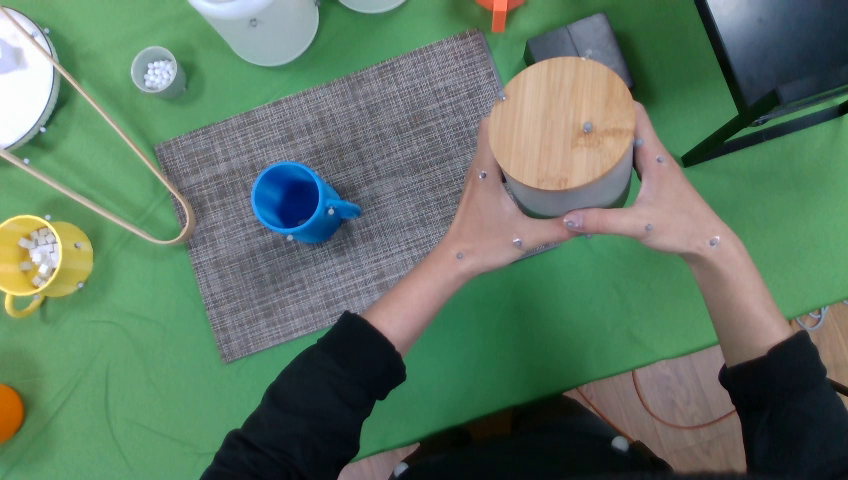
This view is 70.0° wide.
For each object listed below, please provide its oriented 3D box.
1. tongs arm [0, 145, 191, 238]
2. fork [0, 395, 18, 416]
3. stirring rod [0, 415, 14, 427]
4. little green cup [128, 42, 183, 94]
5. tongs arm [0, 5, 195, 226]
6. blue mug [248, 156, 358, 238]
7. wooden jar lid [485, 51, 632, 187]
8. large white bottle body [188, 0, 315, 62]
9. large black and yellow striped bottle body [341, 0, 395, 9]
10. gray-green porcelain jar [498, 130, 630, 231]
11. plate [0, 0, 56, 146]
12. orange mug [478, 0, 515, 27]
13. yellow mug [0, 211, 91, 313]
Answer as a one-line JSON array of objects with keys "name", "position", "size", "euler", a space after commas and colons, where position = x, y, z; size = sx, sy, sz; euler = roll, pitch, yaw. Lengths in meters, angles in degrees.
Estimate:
[{"name": "tongs arm", "position": [-0.476, -0.102, 0.768], "size": [0.385, 0.026, 0.050], "euler": [33, 84, -2]}, {"name": "fork", "position": [-0.602, 0.211, 0.711], "size": [0.209, 0.018, 0.028], "euler": [-1, 82, -41]}, {"name": "stirring rod", "position": [-0.588, 0.225, 0.712], "size": [0.006, 0.177, 0.014], "euler": [-33, 63, 43]}, {"name": "little green cup", "position": [-0.347, -0.222, 0.789], "size": [0.061, 0.039, 0.061], "euler": [0, 86, 3]}, {"name": "tongs arm", "position": [-0.425, -0.169, 0.773], "size": [0.028, 0.028, 0.387], "euler": [-43, 91, -10]}, {"name": "blue mug", "position": [-0.137, -0.047, 0.725], "size": [0.116, 0.106, 0.082], "euler": [6, 85, 4]}, {"name": "wooden jar lid", "position": [0.101, -0.090, 0.459], "size": [0.108, 0.021, 0.108], "euler": [-5, 73, 17]}, {"name": "large white bottle body", "position": [-0.213, -0.307, 0.715], "size": [0.130, 0.185, 0.130], "euler": [0, 84, 4]}, {"name": "large black and yellow striped bottle body", "position": [-0.077, -0.375, 0.714], "size": [0.131, 0.184, 0.130], "euler": [0, 84, 4]}, {"name": "gray-green porcelain jar", "position": [0.120, -0.070, 0.516], "size": [0.105, 0.127, 0.105], "euler": [-5, 71, 17]}, {"name": "plate", "position": [-0.584, -0.217, 0.803], "size": [0.207, 0.039, 0.207], "euler": [0, 86, 3]}, {"name": "orange mug", "position": [0.091, -0.334, 0.744], "size": [0.083, 0.101, 0.126], "euler": [4, 81, 4]}, {"name": "yellow mug", "position": [-0.493, 0.031, 0.763], "size": [0.100, 0.064, 0.130], "euler": [19, 87, 4]}]
